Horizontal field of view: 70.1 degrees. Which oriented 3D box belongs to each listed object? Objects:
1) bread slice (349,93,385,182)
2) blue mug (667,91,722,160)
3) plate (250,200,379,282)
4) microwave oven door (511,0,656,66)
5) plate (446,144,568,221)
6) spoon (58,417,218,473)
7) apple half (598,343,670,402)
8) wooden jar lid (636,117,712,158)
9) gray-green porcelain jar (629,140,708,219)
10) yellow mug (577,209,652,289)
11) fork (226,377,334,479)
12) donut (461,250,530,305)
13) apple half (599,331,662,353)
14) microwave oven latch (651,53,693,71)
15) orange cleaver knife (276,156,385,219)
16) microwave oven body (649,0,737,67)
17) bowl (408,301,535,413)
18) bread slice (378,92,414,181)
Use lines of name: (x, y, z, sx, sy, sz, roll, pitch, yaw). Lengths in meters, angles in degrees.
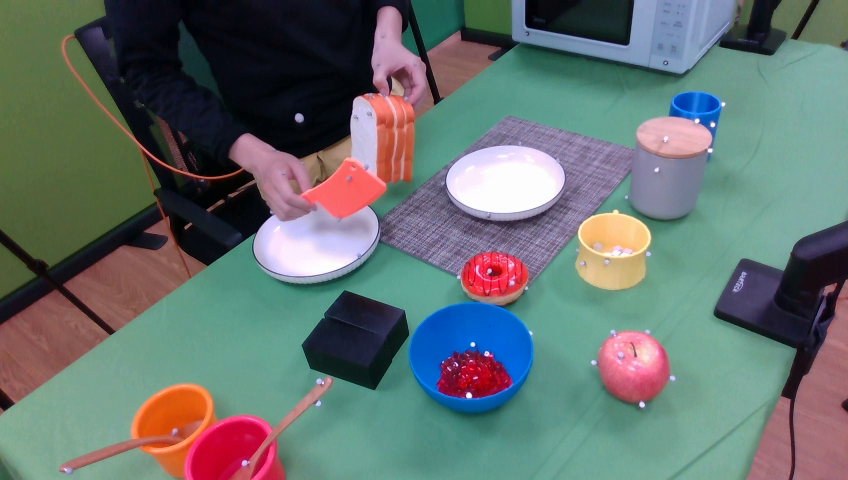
bread slice: (-0.094, -0.172, 0.985, 0.019, 0.132, 0.104, -13, 33, -29)
blue mug: (0.474, -0.207, 1.079, 0.082, 0.106, 0.116, 4, 42, 13)
plate: (-0.174, -0.001, 0.984, 0.209, 0.038, 0.208, -4, 40, 4)
microwave oven door: (0.351, -0.540, 1.349, 0.353, 0.245, 0.039, 24, 50, 31)
plate: (0.142, -0.096, 1.045, 0.207, 0.039, 0.206, -4, 40, 4)
spoon: (-0.304, 0.221, 0.661, 0.041, 0.195, 0.021, 19, 92, 27)
apple half: (0.247, 0.161, 0.710, 0.081, 0.075, 0.053, 2, 47, 5)
wooden jar lid: (0.377, -0.151, 0.917, 0.108, 0.021, 0.108, -2, 42, 3)
gray-green porcelain jar: (0.383, -0.105, 0.958, 0.106, 0.127, 0.105, -4, 41, 4)
yellow mug: (0.279, 0.004, 0.893, 0.099, 0.064, 0.130, 5, 41, 15)
fork: (-0.163, 0.216, 0.647, 0.207, 0.019, 0.028, -49, 42, 16)
donut: (0.103, 0.053, 0.872, 0.099, 0.048, 0.098, -5, 40, 4)
apple half: (0.249, 0.134, 0.738, 0.081, 0.081, 0.032, -2, 46, 7)
microwave oven latch: (0.532, -0.386, 1.301, 0.078, 0.029, 0.030, 27, 52, 34)
orange cleaver knife: (-0.140, -0.062, 0.876, 0.210, 0.077, 0.012, -20, 29, 43)
microwave oven body: (0.475, -0.602, 1.411, 0.438, 0.261, 0.327, 23, 50, 32)
bowl: (0.060, 0.156, 0.739, 0.151, 0.077, 0.150, -4, 40, 4)
bread slice: (-0.053, -0.177, 1.010, 0.018, 0.134, 0.106, -10, 37, -34)
